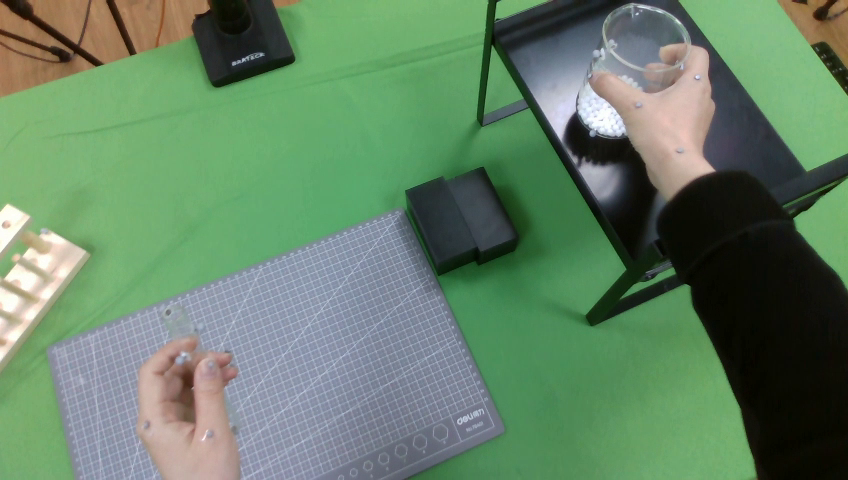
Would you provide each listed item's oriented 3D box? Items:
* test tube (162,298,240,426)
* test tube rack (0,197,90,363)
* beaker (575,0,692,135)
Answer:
[{"bbox_3d":[-0.164,0.098,0.455,0.017,0.151,0.017,-2,44,2],"label":"test tube"},{"bbox_3d":[-0.499,0.080,0.678,0.066,0.086,0.241,27,72,10],"label":"test tube rack"},{"bbox_3d":[0.180,-0.150,0.542,0.074,0.101,0.083,-3,64,-5],"label":"beaker"}]
